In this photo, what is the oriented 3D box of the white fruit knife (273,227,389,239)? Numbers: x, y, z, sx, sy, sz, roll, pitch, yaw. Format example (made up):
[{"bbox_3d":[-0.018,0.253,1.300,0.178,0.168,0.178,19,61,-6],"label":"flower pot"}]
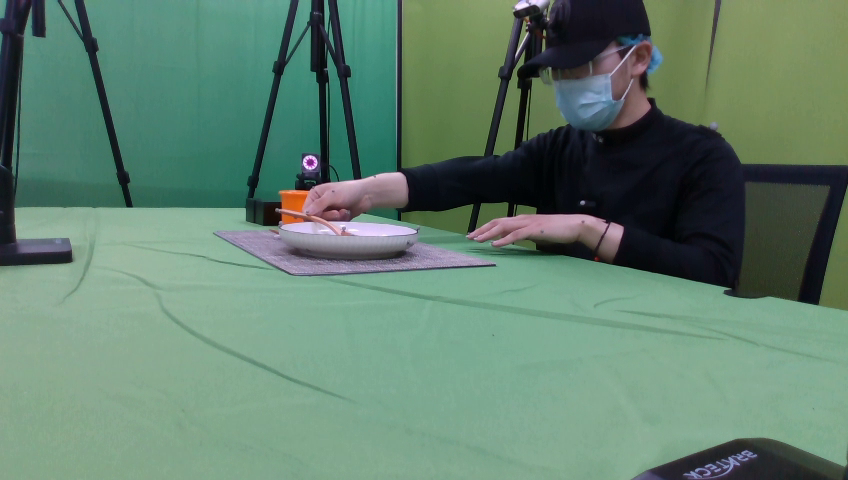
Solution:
[{"bbox_3d":[-0.157,-0.010,1.054,0.208,0.016,0.027,-3,-21,-22],"label":"white fruit knife"}]

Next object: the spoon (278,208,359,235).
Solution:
[{"bbox_3d":[-0.164,-0.027,0.976,0.193,0.021,0.042,21,17,29],"label":"spoon"}]

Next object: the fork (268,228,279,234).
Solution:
[{"bbox_3d":[-0.174,-0.017,1.084,0.208,0.018,0.028,-3,-2,-30],"label":"fork"}]

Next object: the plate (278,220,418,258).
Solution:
[{"bbox_3d":[-0.114,-0.002,0.914,0.209,0.038,0.209,2,7,0],"label":"plate"}]
